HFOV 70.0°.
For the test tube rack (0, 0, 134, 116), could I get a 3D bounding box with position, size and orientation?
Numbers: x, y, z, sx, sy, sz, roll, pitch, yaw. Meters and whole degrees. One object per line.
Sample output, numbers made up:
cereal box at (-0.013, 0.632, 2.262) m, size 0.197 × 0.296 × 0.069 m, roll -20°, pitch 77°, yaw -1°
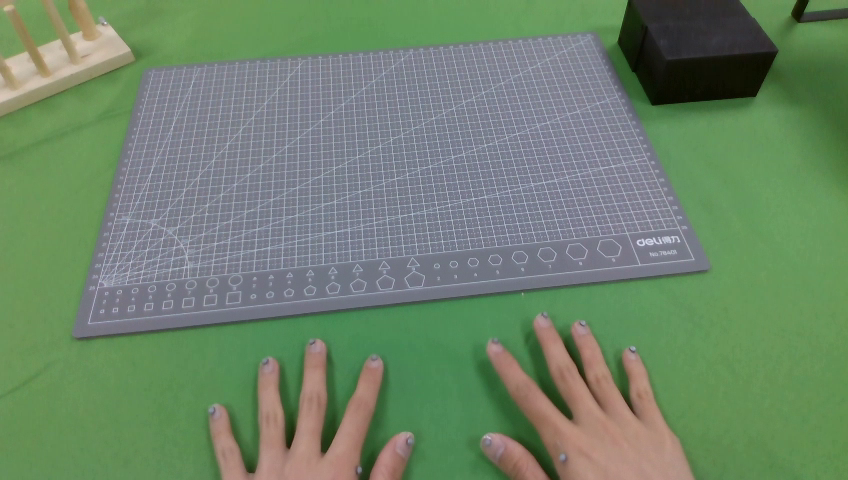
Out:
test tube rack at (-0.403, -0.163, 0.539) m, size 0.242 × 0.086 × 0.066 m, roll -33°, pitch 59°, yaw -22°
